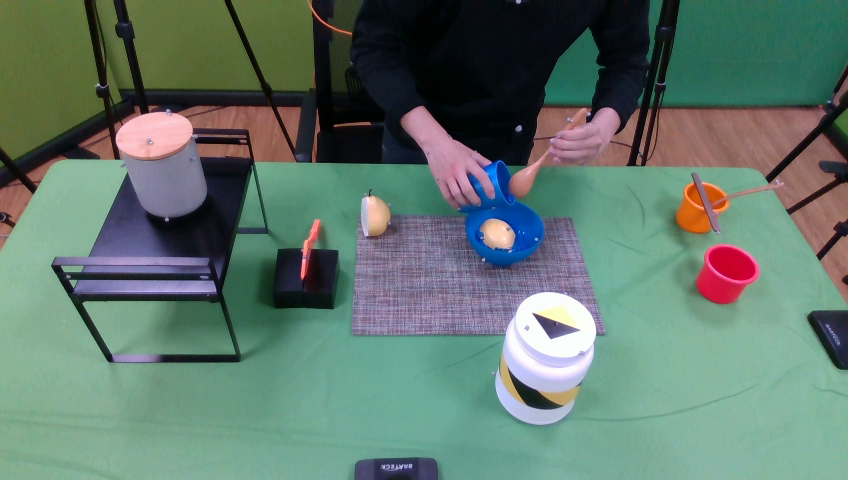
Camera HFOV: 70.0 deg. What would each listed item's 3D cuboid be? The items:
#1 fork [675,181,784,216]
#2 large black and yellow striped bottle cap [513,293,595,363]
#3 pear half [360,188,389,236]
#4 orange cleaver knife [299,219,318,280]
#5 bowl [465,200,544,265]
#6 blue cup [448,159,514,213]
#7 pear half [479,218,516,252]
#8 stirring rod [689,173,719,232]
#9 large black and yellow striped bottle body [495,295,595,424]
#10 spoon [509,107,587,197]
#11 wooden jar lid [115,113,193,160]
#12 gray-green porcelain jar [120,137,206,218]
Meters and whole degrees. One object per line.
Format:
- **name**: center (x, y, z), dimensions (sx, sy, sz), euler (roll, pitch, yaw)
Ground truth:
- **fork**: center (0.617, -0.084, 1.235), dimensions (0.207, 0.019, 0.028), euler (-22, 21, 38)
- **large black and yellow striped bottle cap**: center (0.186, 0.123, 0.863), dimensions (0.115, 0.019, 0.114), euler (3, 45, -3)
- **pear half**: center (-0.096, -0.060, 1.181), dimensions (0.056, 0.110, 0.076), euler (-13, 52, -17)
- **orange cleaver knife**: center (-0.214, 0.013, 1.126), dimensions (0.012, 0.077, 0.210), euler (6, 17, -5)
- **bowl**: center (0.149, -0.004, 1.167), dimensions (0.151, 0.077, 0.150), euler (2, 46, -2)
- **blue cup**: center (0.100, -0.091, 1.092), dimensions (0.100, 0.093, 0.092), euler (-15, 41, 22)
- **pear half**: center (0.145, -0.013, 1.167), dimensions (0.070, 0.031, 0.087), euler (-21, 56, -19)
- **stirring rod**: center (0.566, -0.079, 1.225), dimensions (0.014, 0.006, 0.175), euler (2, 45, 2)
- **large black and yellow striped bottle body**: center (0.183, 0.182, 0.923), dimensions (0.131, 0.185, 0.130), euler (2, 46, -2)
- **spoon**: center (0.209, -0.150, 1.031), dimensions (0.041, 0.194, 0.022), euler (48, 26, 19)
- **wooden jar lid**: center (-0.399, -0.151, 0.900), dimensions (0.108, 0.021, 0.107), euler (3, 46, -3)
- **gray-green porcelain jar**: center (-0.403, -0.106, 0.946), dimensions (0.106, 0.127, 0.105), euler (3, 46, -2)
